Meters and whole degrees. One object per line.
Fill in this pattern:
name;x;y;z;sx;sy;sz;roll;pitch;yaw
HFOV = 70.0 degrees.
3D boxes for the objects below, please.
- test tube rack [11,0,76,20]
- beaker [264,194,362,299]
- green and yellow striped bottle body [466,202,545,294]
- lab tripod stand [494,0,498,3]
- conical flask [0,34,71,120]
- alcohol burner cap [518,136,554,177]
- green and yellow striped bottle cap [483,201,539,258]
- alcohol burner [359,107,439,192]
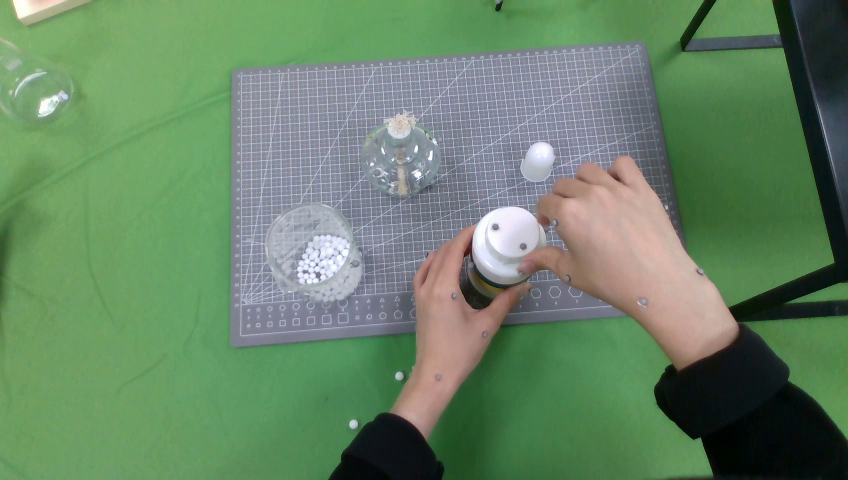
test tube rack;-0.351;-0.334;0.654;0.242;0.085;0.066;-25;76;-7
beaker;-0.097;0.014;0.550;0.074;0.101;0.083;25;76;8
green and yellow striped bottle body;0.072;0.007;0.541;0.063;0.120;0.063;0;74;1
lab tripod stand;0.138;-0.326;0.627;0.148;0.132;0.147;0;73;-1
conical flask;-0.413;-0.177;0.592;0.075;0.122;0.075;0;74;1
alcohol burner cap;0.114;-0.086;0.606;0.034;0.048;0.033;0;74;-1
green and yellow striped bottle cap;0.071;-0.009;0.489;0.045;0.020;0.045;-1;75;2
alcohol burner;-0.024;-0.090;0.570;0.078;0.119;0.077;0;73;-1
